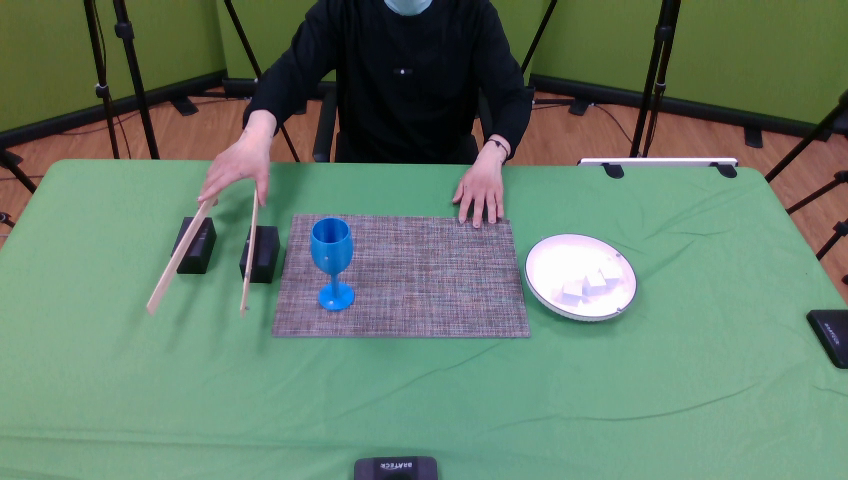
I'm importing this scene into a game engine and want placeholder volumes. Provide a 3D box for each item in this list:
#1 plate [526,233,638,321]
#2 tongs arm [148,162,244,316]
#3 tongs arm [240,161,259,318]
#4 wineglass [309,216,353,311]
[{"bbox_3d":[0.292,0.071,1.135,0.209,0.038,0.208,2,46,-2],"label":"plate"},{"bbox_3d":[-0.413,-0.019,1.114,0.028,0.028,0.385,4,45,8],"label":"tongs arm"},{"bbox_3d":[-0.334,-0.016,1.118,0.051,0.026,0.382,-2,46,-4],"label":"tongs arm"},{"bbox_3d":[-0.155,0.043,1.032,0.074,0.173,0.073,2,46,-2],"label":"wineglass"}]
